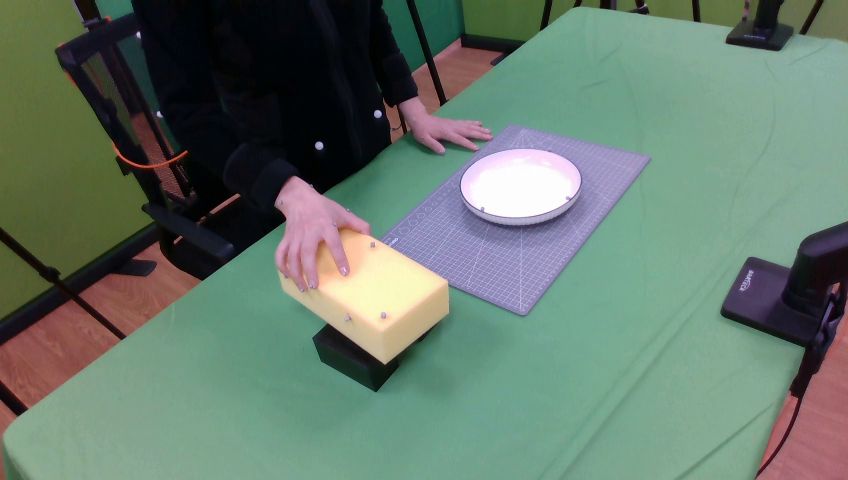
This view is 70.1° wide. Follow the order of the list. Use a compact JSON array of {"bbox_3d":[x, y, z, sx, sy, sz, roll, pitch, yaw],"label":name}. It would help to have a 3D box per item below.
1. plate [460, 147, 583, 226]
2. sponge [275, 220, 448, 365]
[{"bbox_3d":[0.166,-0.089,1.043,0.209,0.038,0.208,-5,40,5],"label":"plate"},{"bbox_3d":[-0.084,0.062,0.800,0.205,0.061,0.118,28,48,32],"label":"sponge"}]
